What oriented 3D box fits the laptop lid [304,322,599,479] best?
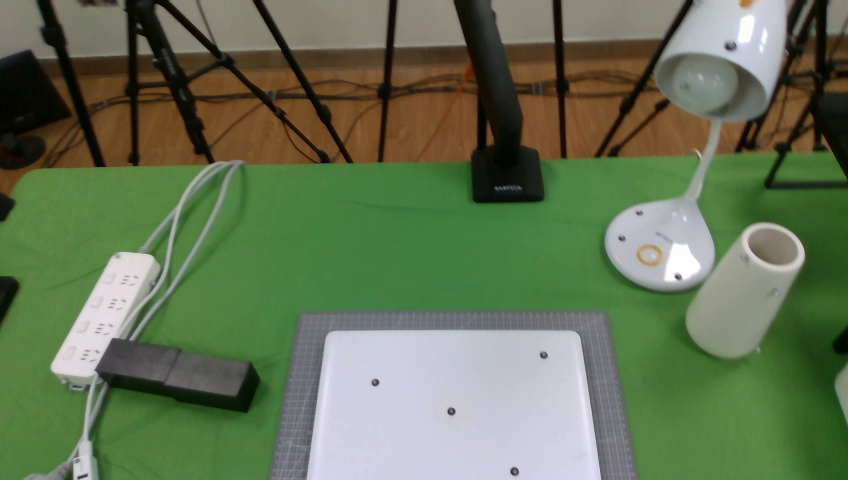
[{"bbox_3d":[0.032,0.210,0.770,0.356,0.013,0.239,0,55,3],"label":"laptop lid"}]

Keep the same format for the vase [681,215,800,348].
[{"bbox_3d":[0.399,0.055,0.772,0.098,0.202,0.097,-2,52,3],"label":"vase"}]

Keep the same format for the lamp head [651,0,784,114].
[{"bbox_3d":[0.304,-0.203,0.607,0.112,0.113,0.122,25,76,20],"label":"lamp head"}]

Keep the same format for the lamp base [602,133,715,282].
[{"bbox_3d":[0.358,-0.059,0.872,0.159,0.182,0.178,28,57,22],"label":"lamp base"}]

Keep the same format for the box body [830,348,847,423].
[{"bbox_3d":[0.636,0.254,0.634,0.254,0.162,0.360,0,53,3],"label":"box body"}]

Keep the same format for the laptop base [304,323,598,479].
[{"bbox_3d":[0.033,0.215,0.782,0.354,0.023,0.233,-1,56,2],"label":"laptop base"}]

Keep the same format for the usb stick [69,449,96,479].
[{"bbox_3d":[-0.417,0.289,0.740,0.021,0.027,0.058,-15,61,-17],"label":"usb stick"}]

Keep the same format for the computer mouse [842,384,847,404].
[{"bbox_3d":[0.565,0.219,0.733,0.063,0.041,0.116,-7,45,4],"label":"computer mouse"}]

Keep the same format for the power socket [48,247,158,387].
[{"bbox_3d":[-0.461,0.102,0.881,0.072,0.033,0.225,6,53,6],"label":"power socket"}]

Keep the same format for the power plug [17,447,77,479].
[{"bbox_3d":[-0.469,0.292,0.749,0.052,0.035,0.072,-13,10,22],"label":"power plug"}]

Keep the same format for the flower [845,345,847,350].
[{"bbox_3d":[0.560,0.284,0.667,0.038,0.044,0.358,-31,54,37],"label":"flower"}]
